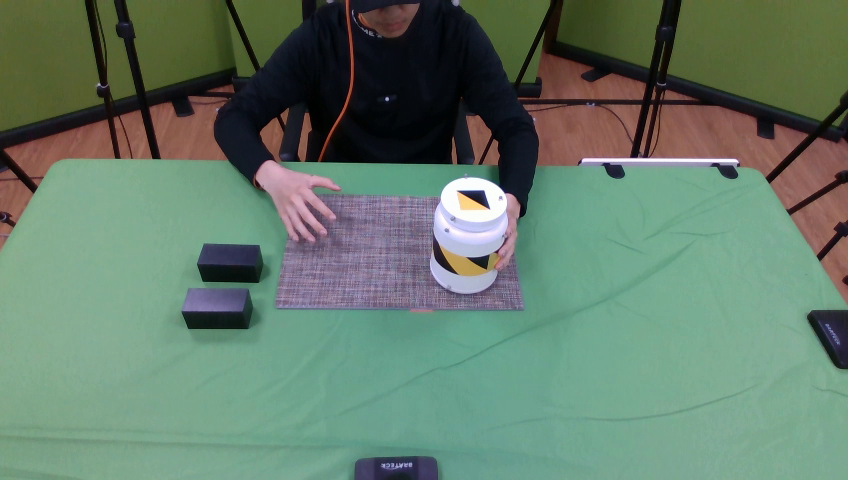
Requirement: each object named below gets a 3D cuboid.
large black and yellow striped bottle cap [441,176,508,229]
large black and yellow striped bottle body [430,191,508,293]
[{"bbox_3d":[0.086,-0.066,1.032,0.115,0.019,0.114,1,47,-1],"label":"large black and yellow striped bottle cap"},{"bbox_3d":[0.080,-0.008,1.092,0.131,0.185,0.130,2,46,-2],"label":"large black and yellow striped bottle body"}]
